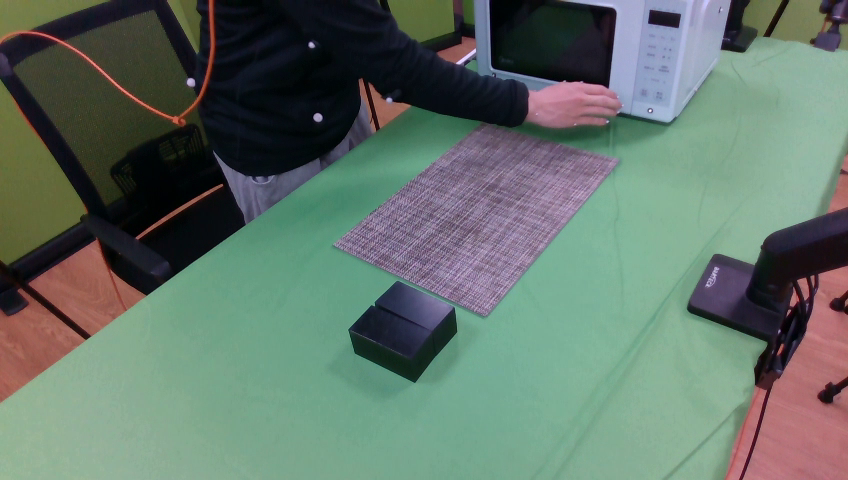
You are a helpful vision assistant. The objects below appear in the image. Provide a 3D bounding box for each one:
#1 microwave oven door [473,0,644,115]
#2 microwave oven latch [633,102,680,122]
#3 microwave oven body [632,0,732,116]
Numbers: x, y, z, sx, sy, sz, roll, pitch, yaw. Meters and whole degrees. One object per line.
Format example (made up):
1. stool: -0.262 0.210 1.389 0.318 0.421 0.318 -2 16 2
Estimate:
1. microwave oven door: 0.257 -0.396 1.199 0.353 0.245 0.039 21 48 29
2. microwave oven latch: 0.443 -0.250 1.157 0.078 0.029 0.030 22 49 30
3. microwave oven body: 0.377 -0.463 1.267 0.438 0.261 0.327 21 48 30
